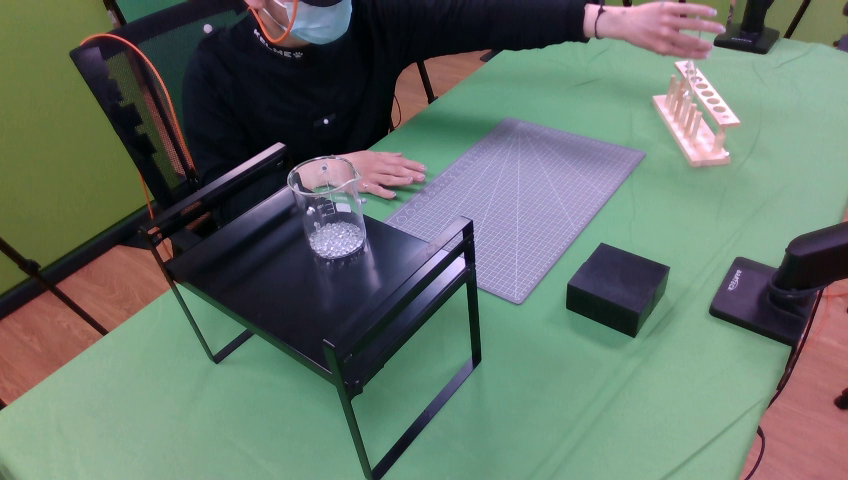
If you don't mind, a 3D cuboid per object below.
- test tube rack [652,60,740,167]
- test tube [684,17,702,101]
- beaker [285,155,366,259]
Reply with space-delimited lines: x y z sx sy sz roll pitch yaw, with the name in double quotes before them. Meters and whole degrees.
"test tube rack" 0.499 -0.242 1.130 0.067 0.085 0.241 -4 41 3
"test tube" 0.467 -0.312 1.050 0.017 0.151 0.017 -7 39 6
"beaker" -0.105 -0.035 0.691 0.084 0.101 0.073 -4 41 3
